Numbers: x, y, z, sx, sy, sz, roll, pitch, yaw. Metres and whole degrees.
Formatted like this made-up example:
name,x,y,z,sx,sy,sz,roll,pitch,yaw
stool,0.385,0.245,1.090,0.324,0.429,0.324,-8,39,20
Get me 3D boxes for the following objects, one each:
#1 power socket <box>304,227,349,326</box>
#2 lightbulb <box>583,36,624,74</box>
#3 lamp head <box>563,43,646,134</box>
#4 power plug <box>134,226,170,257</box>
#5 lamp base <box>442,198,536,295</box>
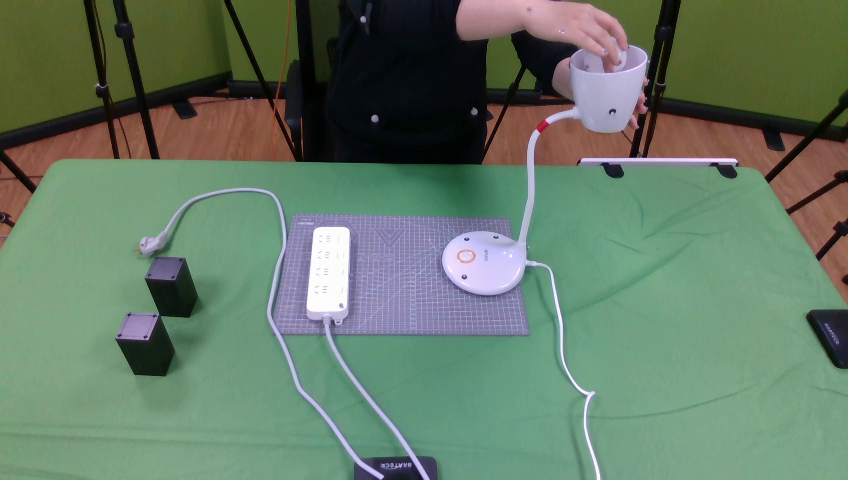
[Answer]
name,x,y,z,sx,sy,sz,roll,pitch,yaw
power socket,-0.177,0.059,1.115,0.072,0.033,0.225,-1,46,-4
lightbulb,0.270,-0.250,0.908,0.059,0.108,0.059,-11,36,8
lamp head,0.273,-0.224,0.928,0.112,0.123,0.111,-2,38,1
power plug,-0.515,0.006,1.153,0.052,0.035,0.072,-6,24,7
lamp base,0.130,-0.012,1.105,0.179,0.181,0.159,-1,46,-9
